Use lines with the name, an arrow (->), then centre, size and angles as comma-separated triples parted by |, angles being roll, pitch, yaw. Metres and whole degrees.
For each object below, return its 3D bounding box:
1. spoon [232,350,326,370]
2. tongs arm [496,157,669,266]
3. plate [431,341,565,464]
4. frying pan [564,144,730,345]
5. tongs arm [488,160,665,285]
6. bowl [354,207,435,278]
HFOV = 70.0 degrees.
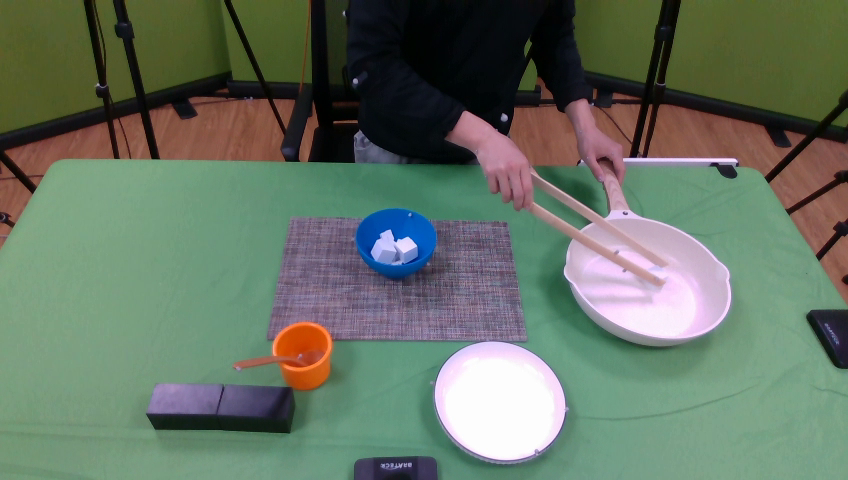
spoon -> -0.216, 0.182, 0.919 | 0.041, 0.194, 0.021 | 43, 102, 27
tongs arm -> 0.291, -0.049, 1.110 | 0.388, 0.028, 0.028 | 30, 64, -11
plate -> 0.114, 0.255, 0.952 | 0.208, 0.039, 0.206 | 3, 46, -2
frying pan -> 0.396, -0.008, 1.179 | 0.307, 0.103, 0.484 | 0, 55, -5
tongs arm -> 0.280, -0.027, 1.095 | 0.386, 0.026, 0.050 | 28, 61, -12
bowl -> -0.056, 0.018, 1.132 | 0.151, 0.077, 0.150 | 2, 46, -2
